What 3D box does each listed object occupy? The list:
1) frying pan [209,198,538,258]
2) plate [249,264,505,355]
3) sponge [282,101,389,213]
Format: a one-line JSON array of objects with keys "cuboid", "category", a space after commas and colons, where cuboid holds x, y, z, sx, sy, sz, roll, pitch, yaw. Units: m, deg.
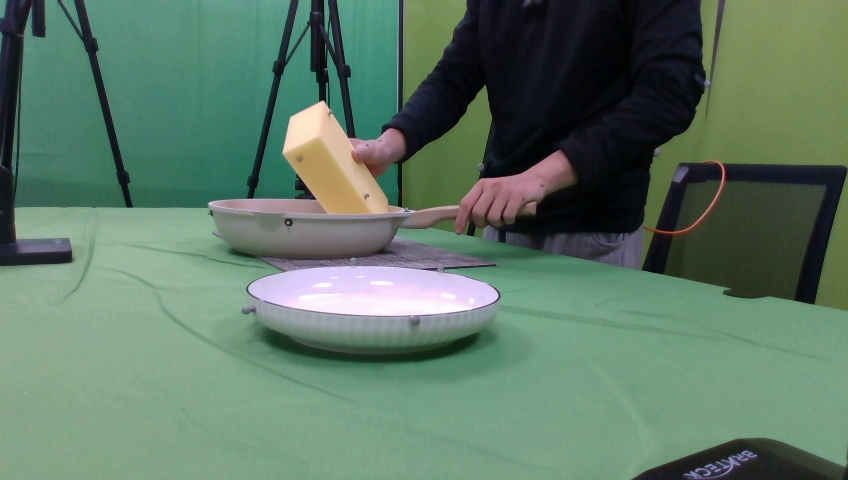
[{"cuboid": [-0.076, -0.034, 0.912, 0.487, 0.102, 0.307, -5, 7, 12], "category": "frying pan"}, {"cuboid": [-0.038, 0.056, 0.504, 0.208, 0.039, 0.207, 2, 7, 0], "category": "plate"}, {"cuboid": [-0.128, -0.095, 0.929, 0.061, 0.207, 0.118, -25, 37, 12], "category": "sponge"}]
